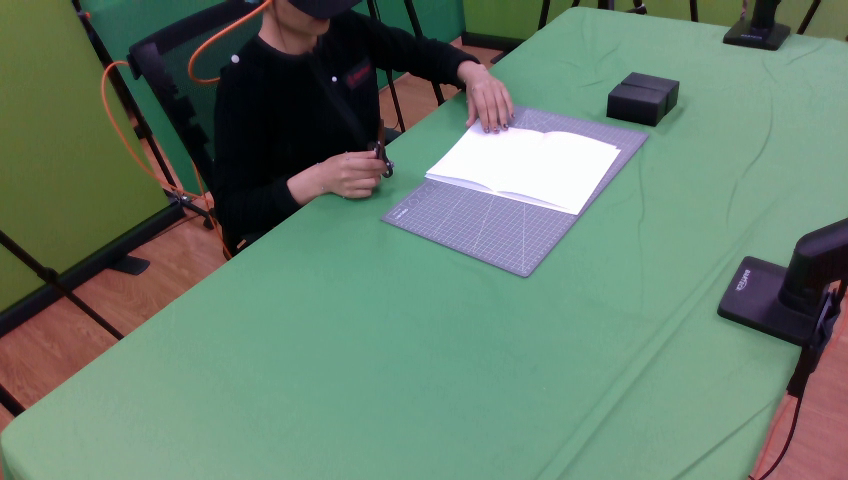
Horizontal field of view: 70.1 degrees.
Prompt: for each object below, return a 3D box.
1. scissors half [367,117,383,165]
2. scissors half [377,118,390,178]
[{"bbox_3d":[-0.082,-0.173,1.048,0.013,0.175,0.040,-31,83,-15],"label":"scissors half"},{"bbox_3d":[-0.072,-0.157,1.042,0.013,0.176,0.040,-26,66,-13],"label":"scissors half"}]
